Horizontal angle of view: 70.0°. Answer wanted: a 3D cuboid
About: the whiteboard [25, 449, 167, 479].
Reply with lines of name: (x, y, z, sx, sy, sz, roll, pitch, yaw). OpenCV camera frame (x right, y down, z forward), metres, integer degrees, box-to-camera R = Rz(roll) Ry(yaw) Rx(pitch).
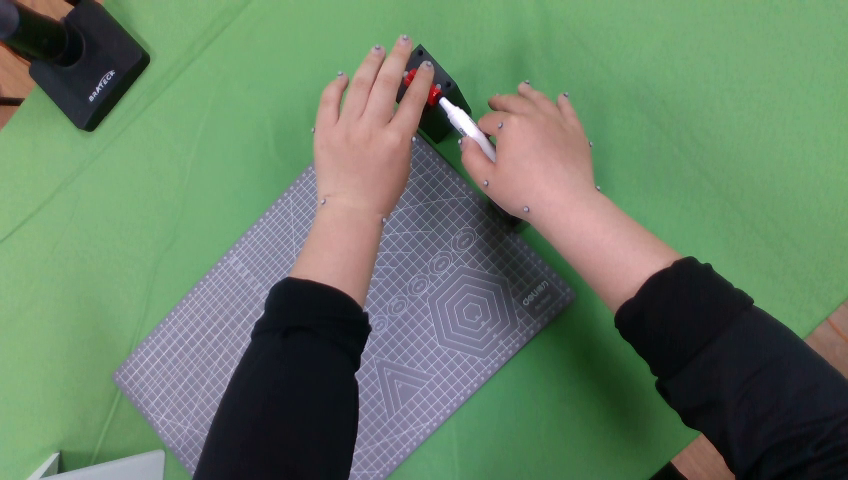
whiteboard: (-0.443, 0.328, 0.598, 0.143, 0.307, 0.217, 7, 90, 32)

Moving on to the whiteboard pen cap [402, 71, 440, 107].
whiteboard pen cap: (-0.002, -0.132, 0.530, 0.032, 0.017, 0.017, 42, 97, 9)

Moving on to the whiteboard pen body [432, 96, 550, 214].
whiteboard pen body: (0.055, -0.075, 0.519, 0.017, 0.017, 0.140, -44, 81, 7)
